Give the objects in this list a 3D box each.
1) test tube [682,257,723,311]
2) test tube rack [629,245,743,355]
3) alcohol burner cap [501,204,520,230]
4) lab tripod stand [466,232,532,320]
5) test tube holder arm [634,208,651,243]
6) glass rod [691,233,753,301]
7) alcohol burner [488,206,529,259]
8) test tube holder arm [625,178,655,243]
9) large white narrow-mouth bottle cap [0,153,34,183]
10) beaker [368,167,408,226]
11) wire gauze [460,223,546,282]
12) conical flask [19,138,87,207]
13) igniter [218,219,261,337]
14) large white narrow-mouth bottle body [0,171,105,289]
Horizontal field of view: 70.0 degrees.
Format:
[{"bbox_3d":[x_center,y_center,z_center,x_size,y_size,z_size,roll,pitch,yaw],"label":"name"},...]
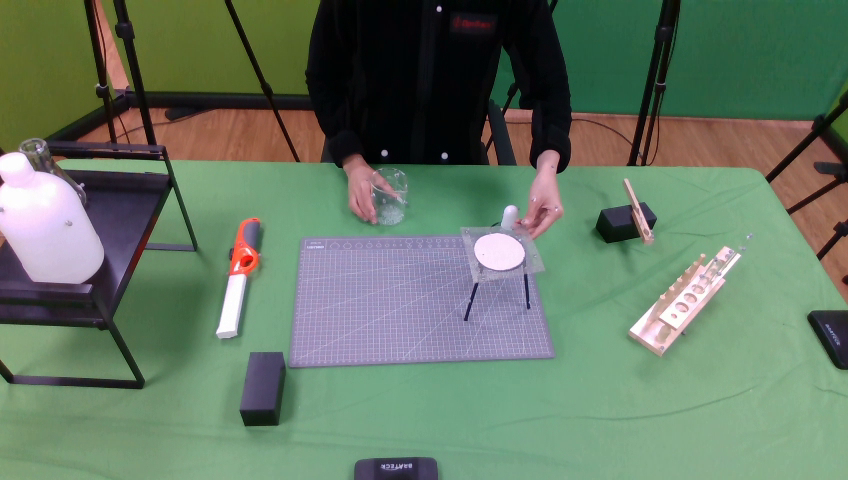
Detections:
[{"bbox_3d":[0.475,0.080,1.037,0.017,0.151,0.017,1,51,-1],"label":"test tube"},{"bbox_3d":[0.474,0.095,1.091,0.242,0.085,0.066,-34,56,-31],"label":"test tube rack"},{"bbox_3d":[0.163,-0.046,1.133,0.034,0.048,0.033,3,39,-2],"label":"alcohol burner cap"},{"bbox_3d":[0.125,0.059,1.065,0.148,0.132,0.147,1,45,0],"label":"lab tripod stand"},{"bbox_3d":[0.428,-0.030,1.189,0.010,0.015,0.087,1,47,-2],"label":"test tube holder arm"},{"bbox_3d":[0.507,0.053,1.041,0.008,0.200,0.008,5,50,-6],"label":"glass rod"},{"bbox_3d":[0.163,-0.020,1.158,0.078,0.120,0.077,0,47,0],"label":"alcohol burner"},{"bbox_3d":[0.433,-0.062,1.220,0.013,0.015,0.177,0,47,-3],"label":"test tube holder arm"},{"bbox_3d":[-0.510,-0.090,0.754,0.038,0.024,0.037,2,46,-2],"label":"large white narrow-mouth bottle cap"},{"bbox_3d":[-0.069,-0.084,1.219,0.083,0.101,0.074,28,51,21],"label":"beaker"},{"bbox_3d":[0.131,0.015,1.014,0.121,0.011,0.124,-5,45,-8],"label":"wire gauze"},{"bbox_3d":[-0.576,-0.097,0.930,0.075,0.122,0.075,2,46,-2],"label":"conical flask"},{"bbox_3d":[-0.336,0.060,1.111,0.057,0.025,0.274,-8,46,3],"label":"igniter"},{"bbox_3d":[-0.513,-0.029,0.818,0.102,0.195,0.101,2,46,-2],"label":"large white narrow-mouth bottle body"}]
